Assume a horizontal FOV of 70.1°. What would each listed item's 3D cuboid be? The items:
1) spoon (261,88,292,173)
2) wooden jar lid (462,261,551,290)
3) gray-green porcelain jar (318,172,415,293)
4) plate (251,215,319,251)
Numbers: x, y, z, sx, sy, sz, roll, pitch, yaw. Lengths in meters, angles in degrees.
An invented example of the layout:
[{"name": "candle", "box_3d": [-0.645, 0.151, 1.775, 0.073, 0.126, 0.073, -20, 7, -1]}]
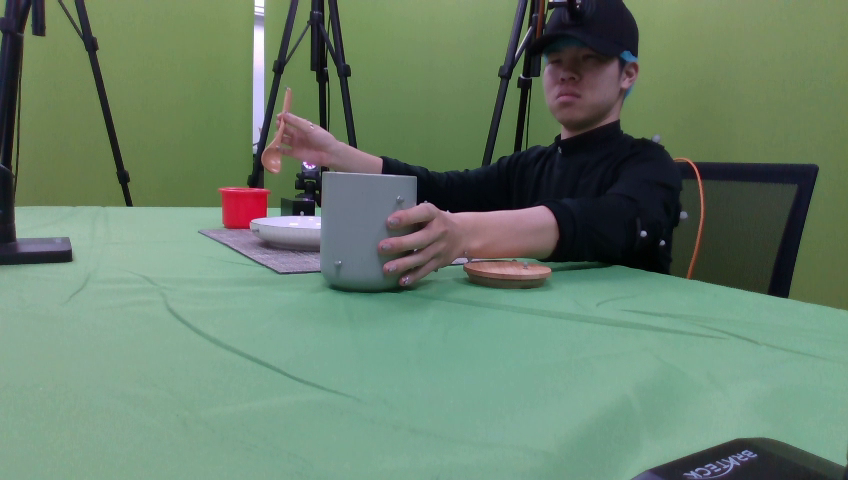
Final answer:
[{"name": "spoon", "box_3d": [-0.275, -0.213, 1.158, 0.042, 0.193, 0.021, 28, -29, -37]}, {"name": "wooden jar lid", "box_3d": [0.101, 0.043, 0.742, 0.108, 0.020, 0.108, 0, 6, 0]}, {"name": "gray-green porcelain jar", "box_3d": [-0.064, -0.010, 0.673, 0.106, 0.126, 0.106, 3, 6, 0]}, {"name": "plate", "box_3d": [-0.170, -0.012, 0.971, 0.208, 0.039, 0.207, 2, 7, 0]}]
